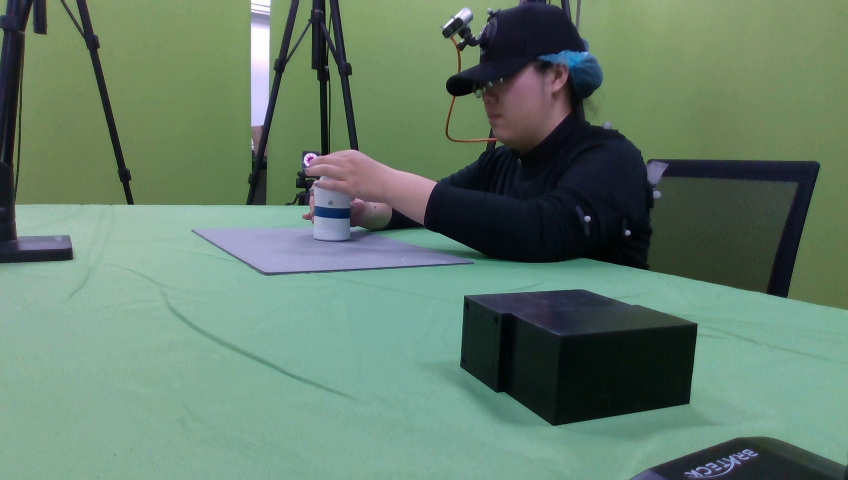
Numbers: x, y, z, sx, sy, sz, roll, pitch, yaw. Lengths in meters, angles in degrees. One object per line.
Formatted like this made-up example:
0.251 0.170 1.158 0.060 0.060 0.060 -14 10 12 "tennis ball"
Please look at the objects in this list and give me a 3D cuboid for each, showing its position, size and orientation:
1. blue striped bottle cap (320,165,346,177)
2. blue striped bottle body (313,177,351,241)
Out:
-0.153 -0.115 1.013 0.044 0.020 0.044 -1 3 0 "blue striped bottle cap"
-0.156 -0.062 1.023 0.063 0.120 0.063 3 8 0 "blue striped bottle body"
